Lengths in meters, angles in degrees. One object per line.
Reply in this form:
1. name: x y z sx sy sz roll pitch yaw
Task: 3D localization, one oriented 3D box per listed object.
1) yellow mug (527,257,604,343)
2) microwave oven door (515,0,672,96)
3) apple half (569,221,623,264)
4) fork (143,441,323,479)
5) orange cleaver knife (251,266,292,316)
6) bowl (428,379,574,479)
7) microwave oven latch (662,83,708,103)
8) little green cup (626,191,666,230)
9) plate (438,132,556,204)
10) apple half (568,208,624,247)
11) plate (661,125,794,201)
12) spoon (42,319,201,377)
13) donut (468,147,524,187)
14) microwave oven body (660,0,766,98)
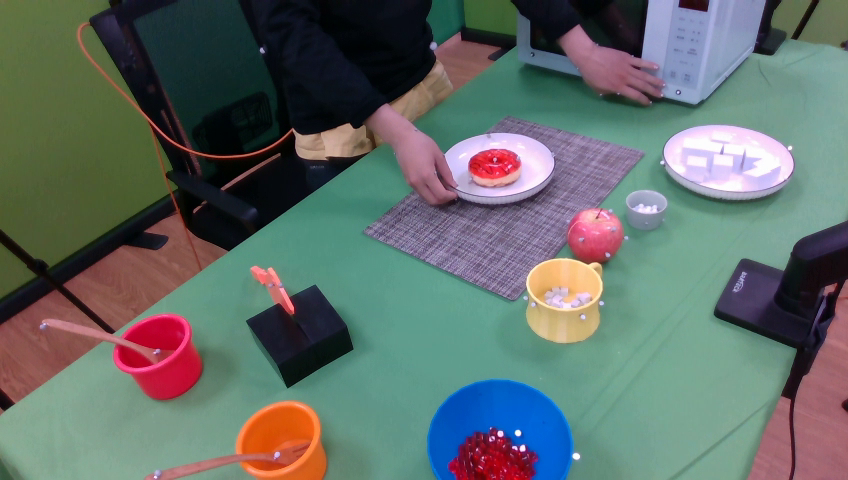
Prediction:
1. yellow mug: 0.201 0.072 0.825 0.131 0.064 0.099 -32 46 -27
2. microwave oven door: 0.343 -0.454 1.259 0.353 0.245 0.039 26 51 33
3. apple half: 0.251 0.010 0.884 0.081 0.081 0.032 3 37 12
4. fork: -0.189 0.231 0.631 0.028 0.018 0.209 35 13 37
5. orange cleaver knife: -0.221 0.071 0.873 0.012 0.077 0.210 -25 11 -21
6. bowl: 0.082 0.233 0.644 0.151 0.077 0.150 -4 39 4
7. microwave oven latch: 0.517 -0.296 1.204 0.078 0.029 0.030 27 52 35
8. little green cup: 0.352 -0.046 0.963 0.061 0.039 0.061 -4 40 4
9. plate: 0.131 -0.125 1.084 0.209 0.038 0.208 -4 40 4
10. apple half: 0.259 -0.014 0.914 0.080 0.075 0.053 0 36 15
11. plate: 0.513 -0.128 1.035 0.207 0.039 0.206 -4 40 4
12. spoon: -0.385 0.135 0.779 0.195 0.021 0.041 29 37 -26
13. donut: 0.128 -0.132 1.075 0.099 0.048 0.098 -6 39 5
14. microwave oven body: 0.472 -0.513 1.317 0.438 0.261 0.327 26 51 34
